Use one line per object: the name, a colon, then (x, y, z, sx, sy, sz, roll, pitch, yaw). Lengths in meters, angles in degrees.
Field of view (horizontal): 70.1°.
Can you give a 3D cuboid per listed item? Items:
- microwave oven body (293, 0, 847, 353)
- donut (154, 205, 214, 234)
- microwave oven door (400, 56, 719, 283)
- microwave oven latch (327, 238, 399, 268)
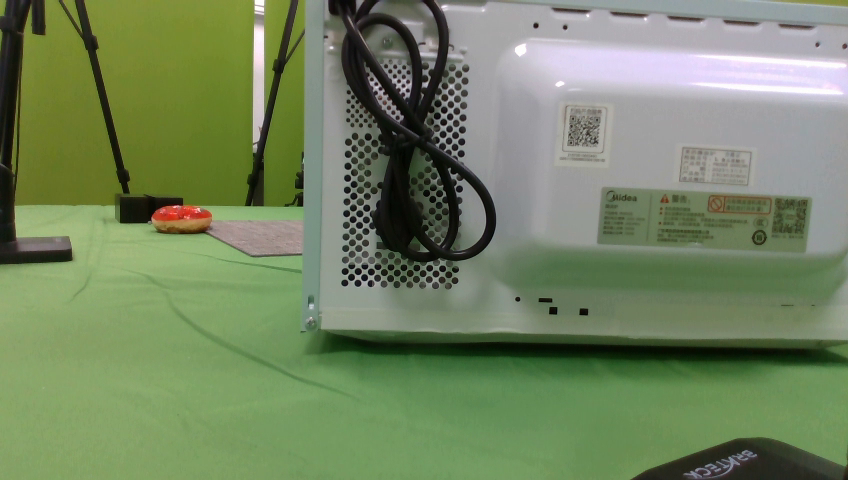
microwave oven body: (0.122, -0.055, 0.550, 0.442, 0.260, 0.325, 3, 7, -5)
donut: (-0.426, -0.037, 1.075, 0.099, 0.048, 0.099, 2, 12, 0)
microwave oven door: (0.155, -0.077, 0.697, 0.356, 0.243, 0.039, 2, 8, -5)
microwave oven latch: (-0.069, 0.015, 0.694, 0.079, 0.029, 0.030, 3, 7, -3)
